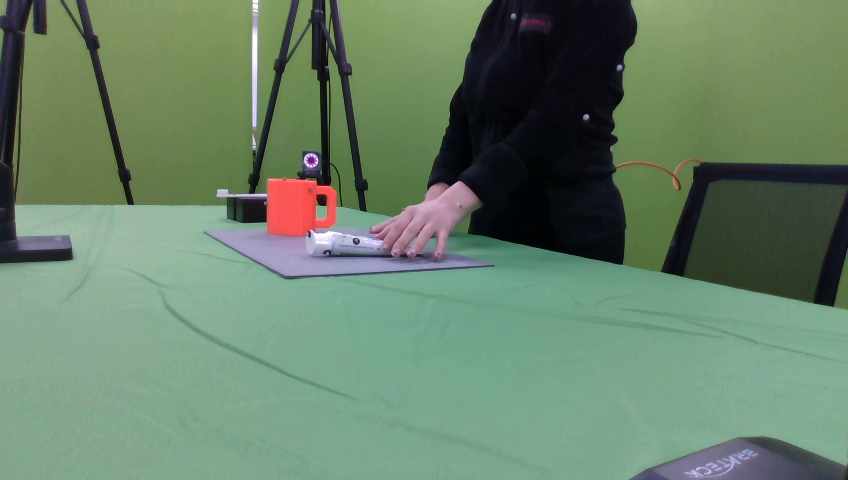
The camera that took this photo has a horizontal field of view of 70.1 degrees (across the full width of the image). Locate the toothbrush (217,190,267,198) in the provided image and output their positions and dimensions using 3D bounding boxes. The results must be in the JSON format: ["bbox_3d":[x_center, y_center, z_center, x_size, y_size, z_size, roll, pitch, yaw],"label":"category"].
[{"bbox_3d":[-0.343,-0.096,1.282,0.183,0.016,0.014,-1,5,-27],"label":"toothbrush"}]

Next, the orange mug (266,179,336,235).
[{"bbox_3d":[-0.222,-0.062,1.094,0.127,0.101,0.083,-5,10,-22],"label":"orange mug"}]

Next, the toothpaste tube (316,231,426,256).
[{"bbox_3d":[-0.080,0.009,0.870,0.166,0.034,0.055,4,11,-26],"label":"toothpaste tube"}]

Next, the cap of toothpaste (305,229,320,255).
[{"bbox_3d":[-0.154,0.003,0.836,0.011,0.037,0.037,-3,9,-34],"label":"cap of toothpaste"}]
